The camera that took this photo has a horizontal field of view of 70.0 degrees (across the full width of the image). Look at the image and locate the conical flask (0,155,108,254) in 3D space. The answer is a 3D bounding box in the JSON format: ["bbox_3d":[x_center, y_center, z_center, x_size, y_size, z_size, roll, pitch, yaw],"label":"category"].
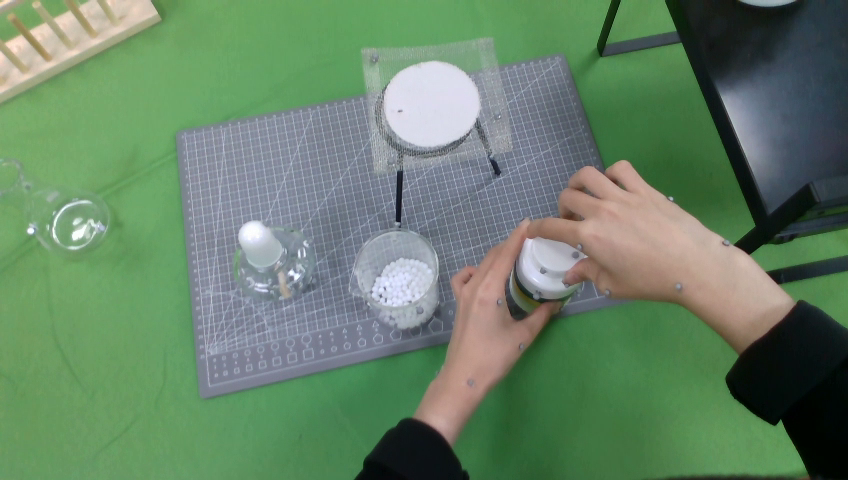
[{"bbox_3d":[-0.376,-0.039,0.594,0.075,0.122,0.075,-1,70,2],"label":"conical flask"}]

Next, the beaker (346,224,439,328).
[{"bbox_3d":[-0.026,0.040,0.565,0.084,0.101,0.073,-24,70,-5],"label":"beaker"}]

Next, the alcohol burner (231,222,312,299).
[{"bbox_3d":[-0.148,0.014,0.571,0.078,0.120,0.077,0,68,0],"label":"alcohol burner"}]

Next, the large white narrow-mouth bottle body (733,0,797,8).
[{"bbox_3d":[0.281,-0.268,0.427,0.102,0.196,0.101,0,68,1],"label":"large white narrow-mouth bottle body"}]

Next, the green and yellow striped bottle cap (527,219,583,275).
[{"bbox_3d":[0.107,0.006,0.496,0.045,0.020,0.045,-2,72,6],"label":"green and yellow striped bottle cap"}]

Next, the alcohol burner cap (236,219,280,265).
[{"bbox_3d":[-0.150,-0.001,0.537,0.034,0.048,0.033,0,63,0],"label":"alcohol burner cap"}]

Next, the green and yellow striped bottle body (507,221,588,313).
[{"bbox_3d":[0.111,0.024,0.549,0.063,0.120,0.063,-1,70,3],"label":"green and yellow striped bottle body"}]

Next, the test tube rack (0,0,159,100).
[{"bbox_3d":[-0.442,-0.246,0.689,0.242,0.086,0.066,-31,73,-9],"label":"test tube rack"}]

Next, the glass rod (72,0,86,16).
[{"bbox_3d":[-0.405,-0.311,0.640,0.008,0.201,0.008,1,67,-2],"label":"glass rod"}]

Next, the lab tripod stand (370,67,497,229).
[{"bbox_3d":[0.004,-0.095,0.594,0.148,0.132,0.147,0,69,1],"label":"lab tripod stand"}]

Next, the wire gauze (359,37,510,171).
[{"bbox_3d":[0.008,-0.124,0.532,0.121,0.011,0.124,-7,71,-2],"label":"wire gauze"}]
